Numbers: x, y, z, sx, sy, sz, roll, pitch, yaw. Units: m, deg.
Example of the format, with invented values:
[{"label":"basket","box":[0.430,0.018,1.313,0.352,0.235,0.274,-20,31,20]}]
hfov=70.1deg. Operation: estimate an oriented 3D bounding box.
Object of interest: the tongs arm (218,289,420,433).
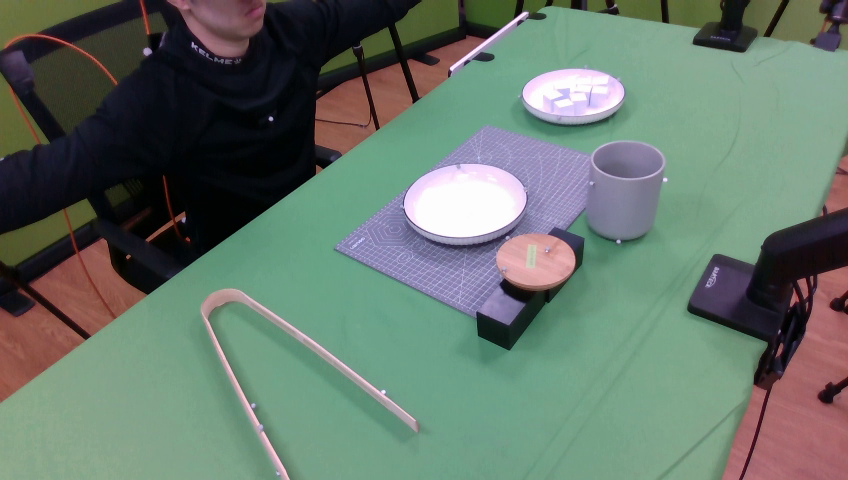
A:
[{"label":"tongs arm","box":[-0.153,0.151,0.811,0.384,0.028,0.028,26,53,33]}]

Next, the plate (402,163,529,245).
[{"label":"plate","box":[0.069,-0.056,1.008,0.209,0.038,0.208,-4,40,4]}]

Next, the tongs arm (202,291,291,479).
[{"label":"tongs arm","box":[-0.216,0.187,0.772,0.051,0.026,0.381,-28,44,-24]}]

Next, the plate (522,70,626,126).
[{"label":"plate","box":[0.308,-0.290,1.251,0.207,0.039,0.206,-4,40,4]}]

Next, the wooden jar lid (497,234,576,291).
[{"label":"wooden jar lid","box":[0.155,0.032,0.834,0.108,0.021,0.108,-5,40,5]}]

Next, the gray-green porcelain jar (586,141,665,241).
[{"label":"gray-green porcelain jar","box":[0.305,-0.071,0.927,0.106,0.127,0.105,-4,41,4]}]
